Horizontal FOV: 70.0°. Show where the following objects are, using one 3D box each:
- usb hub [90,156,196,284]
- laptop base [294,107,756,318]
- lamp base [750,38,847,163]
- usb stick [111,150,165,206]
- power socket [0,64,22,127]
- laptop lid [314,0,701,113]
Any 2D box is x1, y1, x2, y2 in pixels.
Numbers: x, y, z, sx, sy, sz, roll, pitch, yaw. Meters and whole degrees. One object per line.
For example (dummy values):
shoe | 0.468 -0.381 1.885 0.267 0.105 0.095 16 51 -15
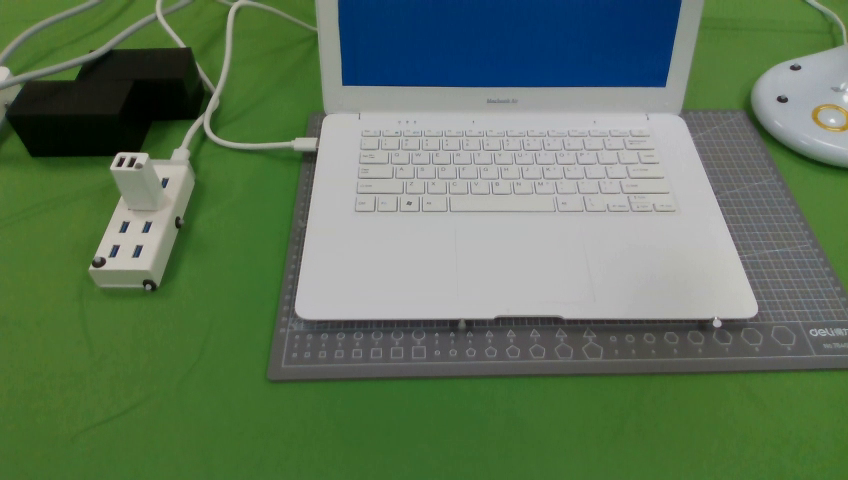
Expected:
usb hub | -0.232 -0.020 0.509 0.049 0.025 0.124 0 50 0
laptop base | 0.077 -0.031 0.528 0.354 0.023 0.233 0 54 -1
lamp base | 0.421 -0.192 0.563 0.160 0.182 0.178 24 52 18
usb stick | -0.229 -0.045 0.492 0.027 0.060 0.021 -1 50 0
power socket | -0.448 -0.091 0.557 0.072 0.033 0.224 1 50 -2
laptop lid | 0.076 -0.224 0.544 0.357 0.243 0.013 -1 29 -1
